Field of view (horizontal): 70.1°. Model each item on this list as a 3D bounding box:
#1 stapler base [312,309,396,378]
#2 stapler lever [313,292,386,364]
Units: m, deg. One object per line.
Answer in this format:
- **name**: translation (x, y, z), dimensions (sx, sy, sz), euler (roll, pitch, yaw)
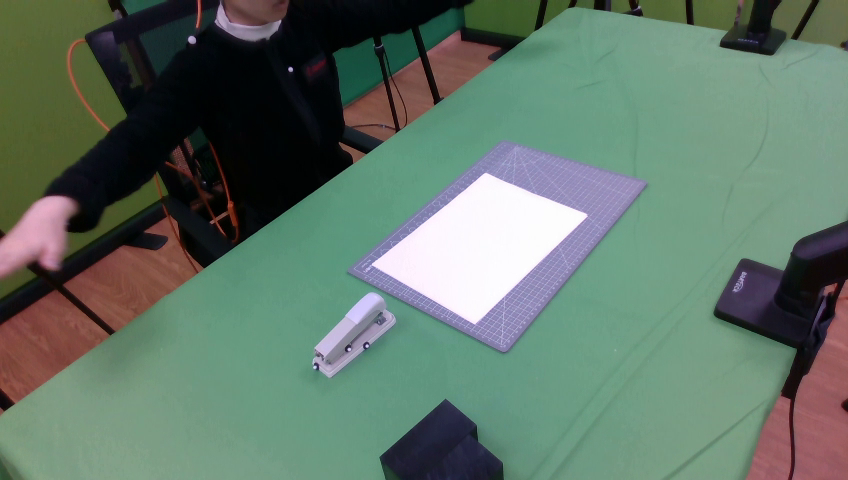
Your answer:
- **stapler base**: translation (-0.096, 0.133, 0.831), dimensions (0.041, 0.024, 0.131), euler (26, 51, 36)
- **stapler lever**: translation (-0.099, 0.116, 0.814), dimensions (0.026, 0.040, 0.118), euler (25, 51, 36)
